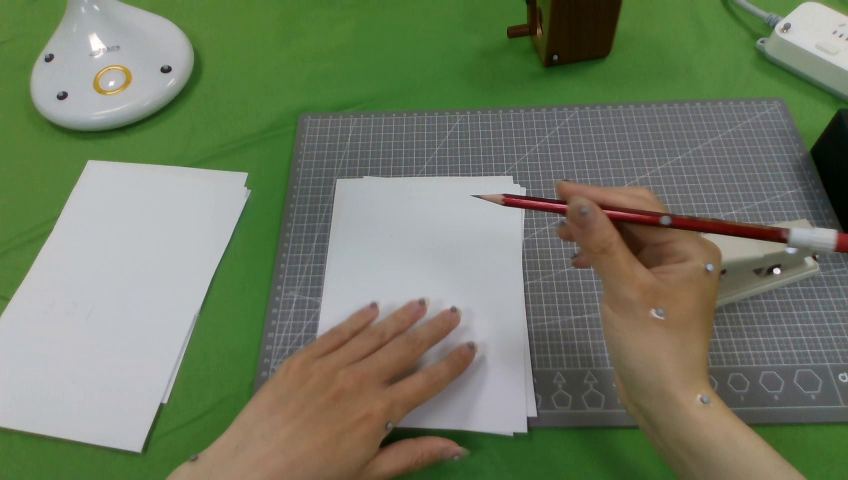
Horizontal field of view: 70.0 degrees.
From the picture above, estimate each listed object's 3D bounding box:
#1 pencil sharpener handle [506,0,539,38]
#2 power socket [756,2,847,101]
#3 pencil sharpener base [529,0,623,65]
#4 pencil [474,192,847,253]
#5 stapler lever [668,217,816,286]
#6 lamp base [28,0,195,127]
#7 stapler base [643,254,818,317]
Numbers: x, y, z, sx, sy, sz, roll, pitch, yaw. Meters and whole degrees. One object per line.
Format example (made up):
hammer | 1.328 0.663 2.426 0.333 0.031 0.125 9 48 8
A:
pencil sharpener handle | 0.089 -0.220 0.552 0.031 0.068 0.035 -11 35 -3
power socket | 0.419 -0.147 0.546 0.072 0.033 0.224 -37 62 -20
pencil sharpener base | 0.139 -0.227 0.569 0.077 0.108 0.060 -11 57 -3
pencil | 0.117 -0.013 0.324 0.193 0.012 0.012 10 57 23
stapler lever | 0.230 0.005 0.430 0.118 0.040 0.026 -15 57 -8
lamp base | -0.322 -0.224 0.549 0.161 0.182 0.177 -28 57 -14
stapler base | 0.230 0.020 0.450 0.131 0.024 0.041 -15 58 -8
